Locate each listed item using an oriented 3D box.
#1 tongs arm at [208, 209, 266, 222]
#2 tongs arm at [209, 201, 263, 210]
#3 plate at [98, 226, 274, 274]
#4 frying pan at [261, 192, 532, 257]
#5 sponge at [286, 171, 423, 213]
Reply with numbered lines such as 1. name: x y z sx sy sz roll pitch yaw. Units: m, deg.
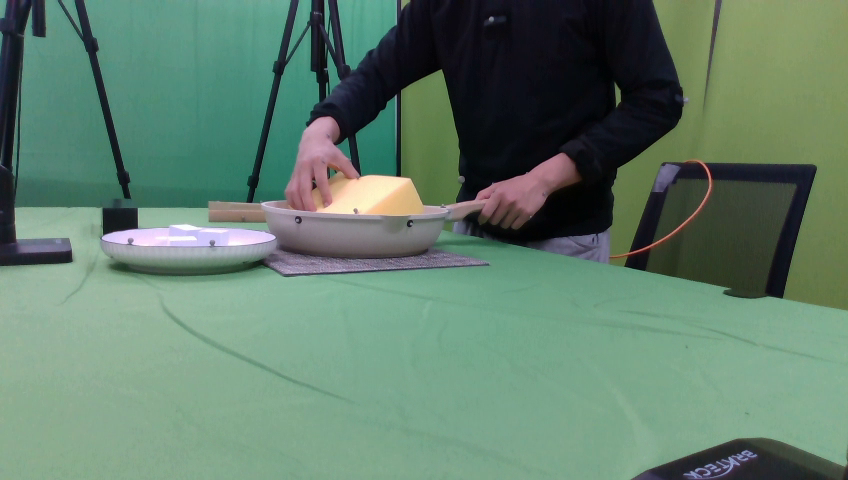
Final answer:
1. tongs arm: -0.280 -0.055 1.354 0.389 0.028 0.028 -1 6 -28
2. tongs arm: -0.306 -0.070 1.429 0.386 0.026 0.050 2 8 -15
3. plate: -0.301 0.012 0.778 0.208 0.039 0.207 3 7 0
4. frying pan: -0.016 -0.043 1.006 0.490 0.102 0.305 -11 13 -26
5. sponge: -0.115 -0.051 0.969 0.118 0.061 0.205 -41 32 -28
